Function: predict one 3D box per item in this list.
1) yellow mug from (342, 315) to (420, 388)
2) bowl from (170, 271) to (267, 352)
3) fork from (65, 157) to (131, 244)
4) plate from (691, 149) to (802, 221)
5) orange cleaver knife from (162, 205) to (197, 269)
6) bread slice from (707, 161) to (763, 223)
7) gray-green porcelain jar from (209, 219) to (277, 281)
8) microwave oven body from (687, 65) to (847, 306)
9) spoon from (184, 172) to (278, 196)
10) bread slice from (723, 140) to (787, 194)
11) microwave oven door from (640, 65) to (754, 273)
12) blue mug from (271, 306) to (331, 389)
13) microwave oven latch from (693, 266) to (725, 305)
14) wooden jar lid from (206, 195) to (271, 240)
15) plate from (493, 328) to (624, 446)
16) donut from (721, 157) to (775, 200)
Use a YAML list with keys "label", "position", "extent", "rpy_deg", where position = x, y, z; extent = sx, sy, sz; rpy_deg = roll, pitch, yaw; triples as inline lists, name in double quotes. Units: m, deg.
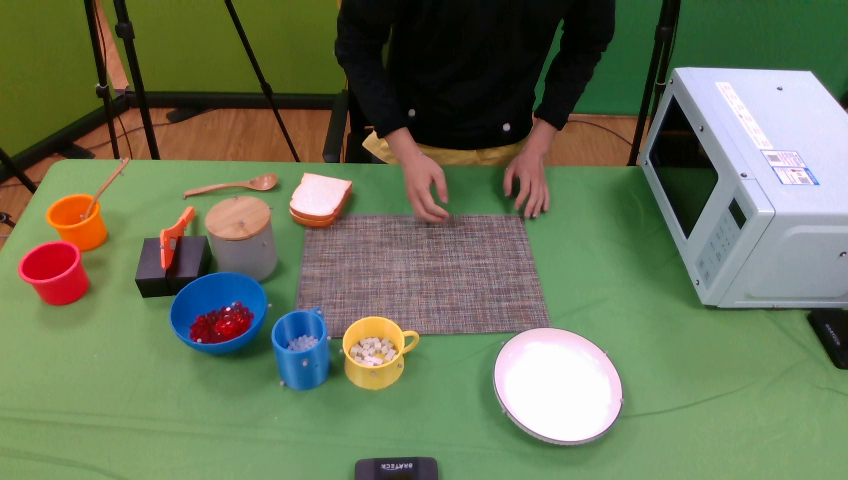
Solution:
- label: "yellow mug"
  position: [-0.067, 0.177, 0.990]
  extent: [0.131, 0.064, 0.099]
  rpy_deg: [-16, 50, -19]
- label: "bowl"
  position: [-0.333, 0.132, 1.006]
  extent: [0.151, 0.077, 0.150]
  rpy_deg: [2, 46, -2]
- label: "fork"
  position: [-0.608, -0.074, 1.133]
  extent: [0.207, 0.019, 0.028]
  rpy_deg: [-52, 51, 10]
- label: "plate"
  position: [0.652, -0.108, 1.238]
  extent: [0.209, 0.038, 0.208]
  rpy_deg: [-1, 46, 1]
- label: "orange cleaver knife"
  position: [-0.454, -0.010, 1.129]
  extent: [0.012, 0.077, 0.210]
  rpy_deg: [-1, 20, -5]
- label: "bread slice"
  position: [0.651, -0.105, 1.261]
  extent: [0.105, 0.019, 0.131]
  rpy_deg: [12, 69, 9]
- label: "gray-green porcelain jar"
  position: [-0.323, 0.007, 1.092]
  extent: [0.106, 0.127, 0.105]
  rpy_deg: [2, 46, -2]
- label: "microwave oven body"
  position: [0.669, -0.111, 1.176]
  extent: [0.326, 0.261, 0.439]
  rpy_deg: [0, 46, -3]
- label: "spoon"
  position: [-0.405, -0.116, 1.275]
  extent: [0.194, 0.022, 0.041]
  rpy_deg: [-8, 65, -12]
- label: "bread slice"
  position: [0.661, -0.147, 1.200]
  extent: [0.107, 0.018, 0.133]
  rpy_deg: [0, 54, 10]
- label: "microwave oven door"
  position: [0.523, -0.147, 1.193]
  extent: [0.039, 0.245, 0.353]
  rpy_deg: [0, 47, -3]
- label: "blue mug"
  position: [-0.188, 0.163, 0.969]
  extent: [0.082, 0.106, 0.116]
  rpy_deg: [15, 47, 10]
- label: "microwave oven latch"
  position: [0.523, 0.082, 1.115]
  extent: [0.030, 0.029, 0.078]
  rpy_deg: [3, 46, 0]
- label: "wooden jar lid"
  position: [-0.319, -0.036, 1.046]
  extent: [0.108, 0.021, 0.107]
  rpy_deg: [1, 44, 0]
- label: "plate"
  position: [0.213, 0.236, 0.974]
  extent: [0.208, 0.039, 0.206]
  rpy_deg: [2, 46, -2]
- label: "donut"
  position: [0.648, -0.124, 1.215]
  extent: [0.099, 0.048, 0.098]
  rpy_deg: [-3, 55, 5]
